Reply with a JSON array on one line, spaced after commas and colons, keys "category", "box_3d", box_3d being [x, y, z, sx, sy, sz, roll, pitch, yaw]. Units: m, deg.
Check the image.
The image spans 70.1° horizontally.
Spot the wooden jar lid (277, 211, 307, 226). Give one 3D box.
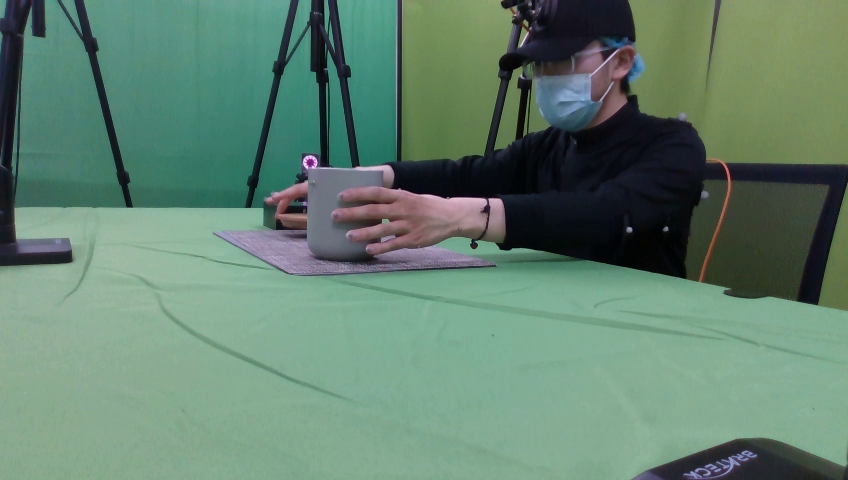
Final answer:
[{"category": "wooden jar lid", "box_3d": [-0.205, -0.038, 1.073, 0.108, 0.020, 0.108, 2, 6, 0]}]

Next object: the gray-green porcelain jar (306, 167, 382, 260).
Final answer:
[{"category": "gray-green porcelain jar", "box_3d": [-0.112, -0.039, 0.850, 0.106, 0.126, 0.106, 2, 7, 0]}]
